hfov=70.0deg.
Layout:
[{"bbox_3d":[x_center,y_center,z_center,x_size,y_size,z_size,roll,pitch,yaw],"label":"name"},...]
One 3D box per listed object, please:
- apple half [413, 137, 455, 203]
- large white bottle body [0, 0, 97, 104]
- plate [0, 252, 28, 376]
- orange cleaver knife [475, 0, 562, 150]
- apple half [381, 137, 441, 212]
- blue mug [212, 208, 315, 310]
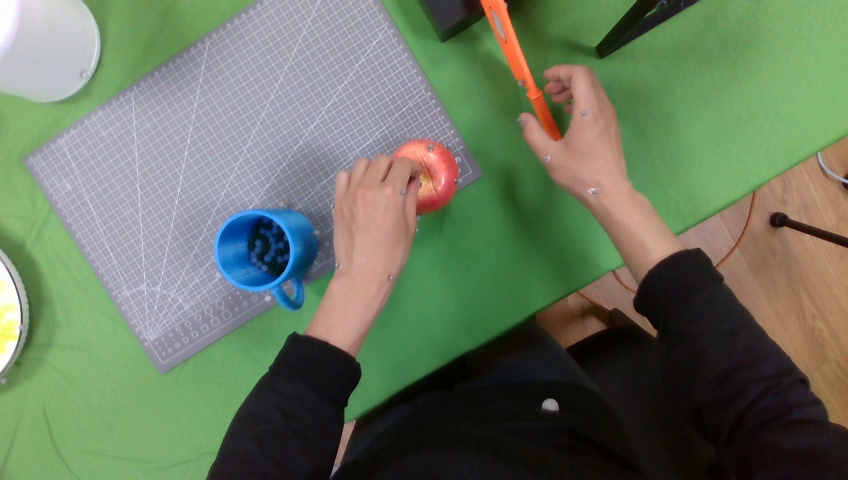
[{"bbox_3d":[0.017,-0.081,0.657,0.033,0.081,0.081,-24,93,9],"label":"apple half"},{"bbox_3d":[-0.442,-0.217,0.610,0.130,0.184,0.130,0,94,3],"label":"large white bottle body"},{"bbox_3d":[-0.565,0.081,0.713,0.209,0.038,0.209,0,95,2],"label":"plate"},{"bbox_3d":[0.095,-0.188,0.642,0.012,0.076,0.213,-33,124,4],"label":"orange cleaver knife"},{"bbox_3d":[-0.018,-0.066,0.662,0.053,0.074,0.081,-23,98,9],"label":"apple half"},{"bbox_3d":[-0.164,0.021,0.658,0.082,0.106,0.116,-23,93,4],"label":"blue mug"}]
